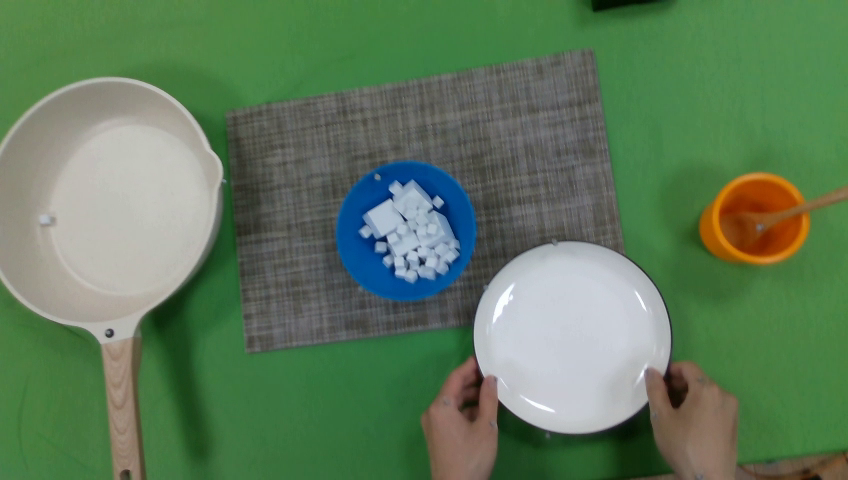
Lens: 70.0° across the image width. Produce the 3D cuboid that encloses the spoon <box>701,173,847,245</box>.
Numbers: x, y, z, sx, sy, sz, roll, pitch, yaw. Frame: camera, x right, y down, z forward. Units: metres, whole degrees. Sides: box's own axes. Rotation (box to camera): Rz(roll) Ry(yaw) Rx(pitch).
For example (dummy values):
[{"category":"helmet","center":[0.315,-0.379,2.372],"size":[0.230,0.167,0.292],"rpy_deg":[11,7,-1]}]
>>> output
[{"category":"spoon","center":[0.364,-0.039,0.592],"size":[0.022,0.193,0.041],"rpy_deg":[-15,80,-39]}]

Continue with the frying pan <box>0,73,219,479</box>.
[{"category":"frying pan","center":[-0.356,0.051,0.694],"size":[0.306,0.103,0.485],"rpy_deg":[-13,75,6]}]

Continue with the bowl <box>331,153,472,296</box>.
[{"category":"bowl","center":[-0.019,-0.012,0.668],"size":[0.151,0.077,0.151],"rpy_deg":[-1,85,7]}]

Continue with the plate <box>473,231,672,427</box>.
[{"category":"plate","center":[0.158,0.095,0.659],"size":[0.207,0.039,0.207],"rpy_deg":[0,87,6]}]
